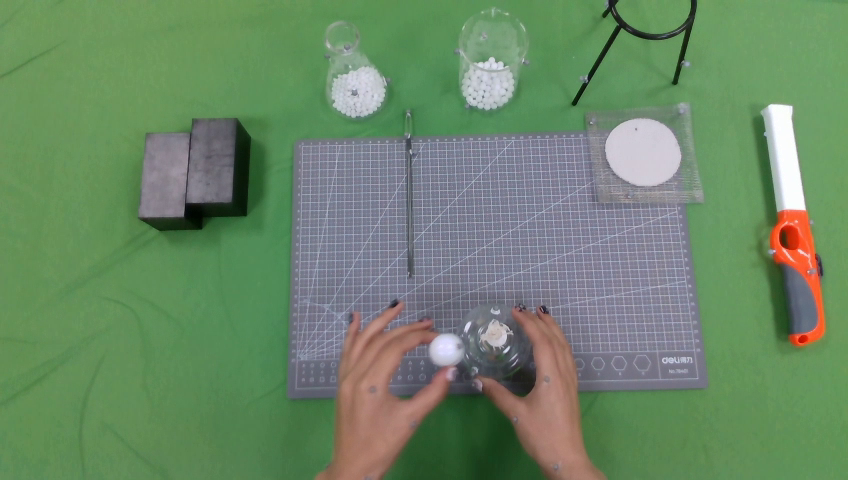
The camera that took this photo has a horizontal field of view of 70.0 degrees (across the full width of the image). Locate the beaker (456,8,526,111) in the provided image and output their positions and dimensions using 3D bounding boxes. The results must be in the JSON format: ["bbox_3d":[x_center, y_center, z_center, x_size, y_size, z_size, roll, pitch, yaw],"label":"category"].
[{"bbox_3d":[0.072,-0.201,0.690,0.074,0.101,0.083,1,75,1],"label":"beaker"}]

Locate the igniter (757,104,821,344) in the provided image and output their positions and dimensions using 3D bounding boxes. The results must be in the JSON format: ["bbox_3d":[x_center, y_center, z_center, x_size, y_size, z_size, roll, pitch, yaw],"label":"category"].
[{"bbox_3d":[0.407,-0.023,0.678,0.057,0.025,0.275,2,76,-8],"label":"igniter"}]

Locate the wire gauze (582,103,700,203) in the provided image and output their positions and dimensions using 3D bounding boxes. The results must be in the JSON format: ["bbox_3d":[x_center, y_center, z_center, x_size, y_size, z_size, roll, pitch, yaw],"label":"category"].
[{"bbox_3d":[0.253,-0.101,0.707,0.125,0.011,0.121,-2,76,0],"label":"wire gauze"}]

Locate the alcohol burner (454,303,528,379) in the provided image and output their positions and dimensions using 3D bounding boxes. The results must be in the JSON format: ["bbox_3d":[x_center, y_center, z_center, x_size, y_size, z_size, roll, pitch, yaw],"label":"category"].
[{"bbox_3d":[0.068,0.100,0.607,0.078,0.119,0.077,0,78,1],"label":"alcohol burner"}]

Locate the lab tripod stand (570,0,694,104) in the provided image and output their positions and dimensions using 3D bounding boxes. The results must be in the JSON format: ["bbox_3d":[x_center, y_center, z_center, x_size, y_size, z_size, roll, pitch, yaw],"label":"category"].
[{"bbox_3d":[0.229,-0.226,0.676,0.148,0.132,0.147,0,78,1],"label":"lab tripod stand"}]

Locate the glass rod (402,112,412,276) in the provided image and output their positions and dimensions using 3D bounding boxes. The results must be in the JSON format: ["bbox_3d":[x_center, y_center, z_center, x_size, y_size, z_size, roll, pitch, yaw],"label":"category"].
[{"bbox_3d":[-0.019,-0.056,0.699,0.008,0.008,0.198,-2,76,0],"label":"glass rod"}]

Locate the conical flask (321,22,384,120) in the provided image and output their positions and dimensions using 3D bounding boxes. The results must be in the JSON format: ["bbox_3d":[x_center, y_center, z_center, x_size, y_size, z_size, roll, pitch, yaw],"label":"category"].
[{"bbox_3d":[-0.086,-0.192,0.679,0.075,0.122,0.075,0,76,1],"label":"conical flask"}]

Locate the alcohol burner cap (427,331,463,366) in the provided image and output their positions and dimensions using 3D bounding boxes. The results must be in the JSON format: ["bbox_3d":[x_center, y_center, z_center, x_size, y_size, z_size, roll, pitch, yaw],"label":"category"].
[{"bbox_3d":[0.018,0.097,0.544,0.034,0.048,0.033,0,80,3],"label":"alcohol burner cap"}]
